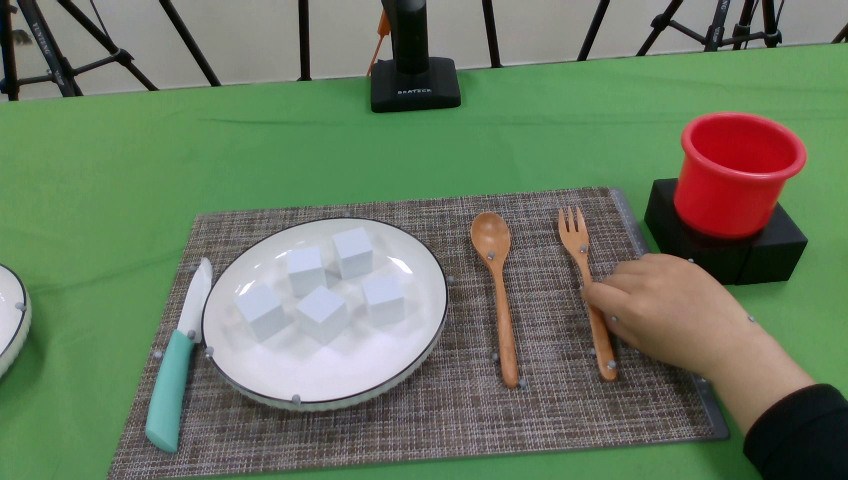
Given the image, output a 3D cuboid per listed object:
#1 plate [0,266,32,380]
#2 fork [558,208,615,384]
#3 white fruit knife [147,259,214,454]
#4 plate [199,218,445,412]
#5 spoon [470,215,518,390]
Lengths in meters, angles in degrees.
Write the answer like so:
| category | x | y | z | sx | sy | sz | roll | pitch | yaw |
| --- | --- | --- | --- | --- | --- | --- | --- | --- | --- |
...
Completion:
| category | x | y | z | sx | sy | sz | roll | pitch | yaw |
| --- | --- | --- | --- | --- | --- | --- | --- | --- | --- |
| plate | -0.442 | 0.101 | 0.514 | 0.209 | 0.038 | 0.207 | -1 | 43 | 2 |
| fork | 0.147 | 0.041 | 0.550 | 0.028 | 0.019 | 0.205 | -3 | 41 | 4 |
| white fruit knife | -0.207 | 0.088 | 0.526 | 0.027 | 0.016 | 0.205 | 17 | 37 | -21 |
| plate | -0.085 | 0.062 | 0.528 | 0.207 | 0.039 | 0.205 | -2 | 43 | 2 |
| spoon | 0.066 | 0.048 | 0.544 | 0.042 | 0.022 | 0.191 | 10 | 42 | -11 |
